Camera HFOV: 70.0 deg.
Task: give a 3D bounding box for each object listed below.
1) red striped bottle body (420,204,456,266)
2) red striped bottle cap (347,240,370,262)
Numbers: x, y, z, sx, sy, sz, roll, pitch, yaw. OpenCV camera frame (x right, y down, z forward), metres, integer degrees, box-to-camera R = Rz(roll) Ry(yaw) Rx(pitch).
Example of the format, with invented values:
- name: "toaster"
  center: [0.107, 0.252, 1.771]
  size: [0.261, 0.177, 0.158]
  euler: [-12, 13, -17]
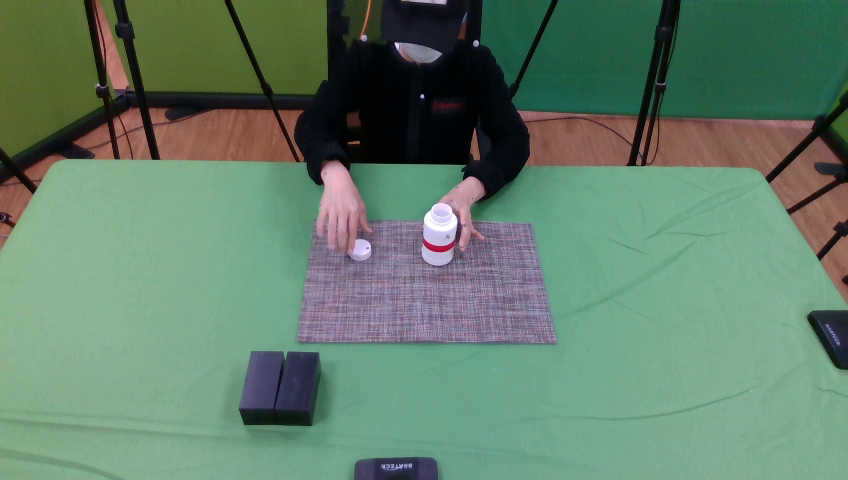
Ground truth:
- name: "red striped bottle body"
  center: [0.026, -0.012, 1.139]
  size: [0.063, 0.120, 0.062]
  euler: [3, 45, -2]
- name: "red striped bottle cap"
  center: [-0.126, 0.020, 1.169]
  size: [0.044, 0.018, 0.044]
  euler: [2, 48, -2]
